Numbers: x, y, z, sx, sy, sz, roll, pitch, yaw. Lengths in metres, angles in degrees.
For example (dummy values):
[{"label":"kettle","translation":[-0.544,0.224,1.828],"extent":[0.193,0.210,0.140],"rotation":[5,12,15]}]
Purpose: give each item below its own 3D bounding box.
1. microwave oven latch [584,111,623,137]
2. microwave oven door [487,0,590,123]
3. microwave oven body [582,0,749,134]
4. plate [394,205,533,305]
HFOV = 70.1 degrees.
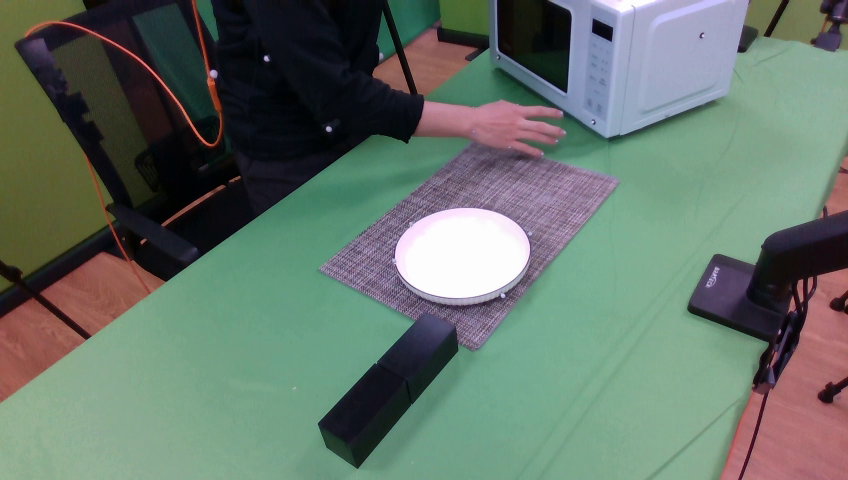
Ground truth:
[{"label":"microwave oven latch","translation":[0.337,-0.222,1.142],"extent":[0.030,0.029,0.078],"rotation":[-21,42,-14]},{"label":"microwave oven door","translation":[0.232,-0.420,1.231],"extent":[0.039,0.245,0.352],"rotation":[-22,43,-16]},{"label":"microwave oven body","translation":[0.382,-0.444,1.246],"extent":[0.327,0.261,0.437],"rotation":[-22,42,-16]},{"label":"plate","translation":[0.059,0.025,0.915],"extent":[0.207,0.039,0.206],"rotation":[-4,41,4]}]
